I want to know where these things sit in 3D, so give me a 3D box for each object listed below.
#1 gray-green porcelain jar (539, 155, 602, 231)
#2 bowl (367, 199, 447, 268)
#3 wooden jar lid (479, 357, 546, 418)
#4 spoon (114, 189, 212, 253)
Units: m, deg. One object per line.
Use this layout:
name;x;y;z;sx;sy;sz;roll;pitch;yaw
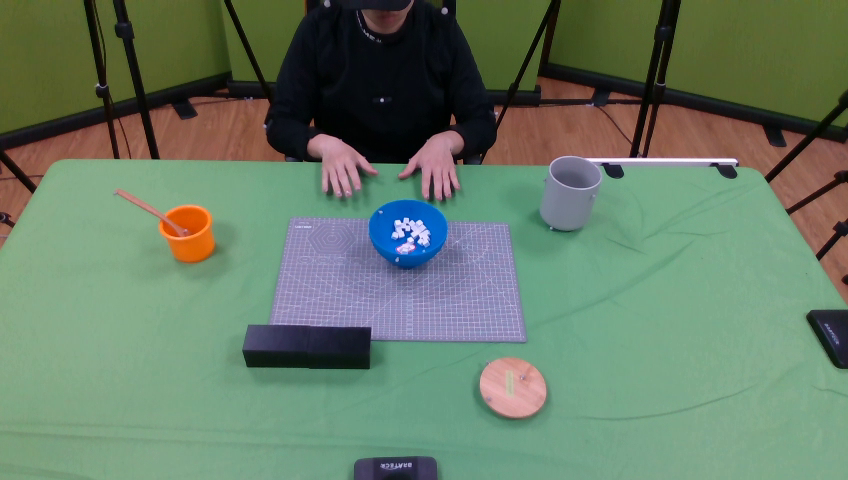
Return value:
gray-green porcelain jar;0.294;-0.091;1.235;0.106;0.127;0.105;2;46;-2
bowl;-0.033;0.000;1.152;0.151;0.077;0.150;2;46;-2
wooden jar lid;0.142;0.240;0.979;0.108;0.021;0.107;1;46;-1
spoon;-0.474;-0.037;1.109;0.021;0.195;0.041;-29;34;31
